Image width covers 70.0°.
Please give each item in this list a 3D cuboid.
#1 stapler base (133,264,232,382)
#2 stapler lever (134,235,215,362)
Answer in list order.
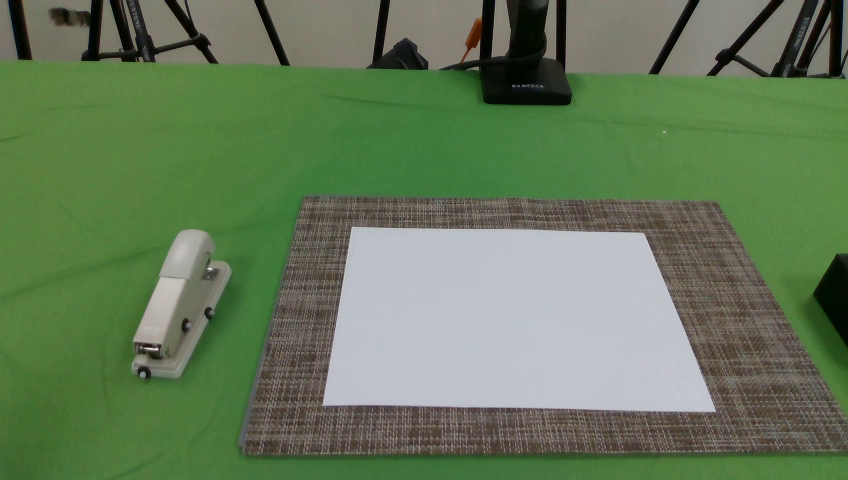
[{"bbox_3d":[-0.204,0.061,0.516,0.041,0.024,0.129,3,42,5],"label":"stapler base"},{"bbox_3d":[-0.204,0.043,0.498,0.027,0.040,0.117,3,42,5],"label":"stapler lever"}]
